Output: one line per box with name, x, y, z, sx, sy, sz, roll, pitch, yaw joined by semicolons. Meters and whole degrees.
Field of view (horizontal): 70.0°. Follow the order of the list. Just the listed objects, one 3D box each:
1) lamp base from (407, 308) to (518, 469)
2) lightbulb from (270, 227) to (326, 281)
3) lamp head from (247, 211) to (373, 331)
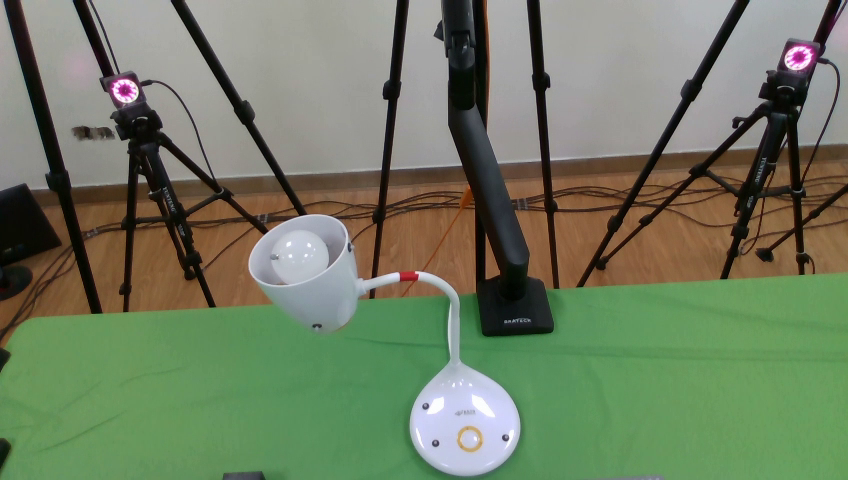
lamp base;0.049;0.193;0.837;0.161;0.182;0.177;-13;41;-10
lightbulb;-0.131;0.031;0.668;0.059;0.109;0.059;-7;48;8
lamp head;-0.121;0.044;0.688;0.112;0.124;0.111;-13;44;13
